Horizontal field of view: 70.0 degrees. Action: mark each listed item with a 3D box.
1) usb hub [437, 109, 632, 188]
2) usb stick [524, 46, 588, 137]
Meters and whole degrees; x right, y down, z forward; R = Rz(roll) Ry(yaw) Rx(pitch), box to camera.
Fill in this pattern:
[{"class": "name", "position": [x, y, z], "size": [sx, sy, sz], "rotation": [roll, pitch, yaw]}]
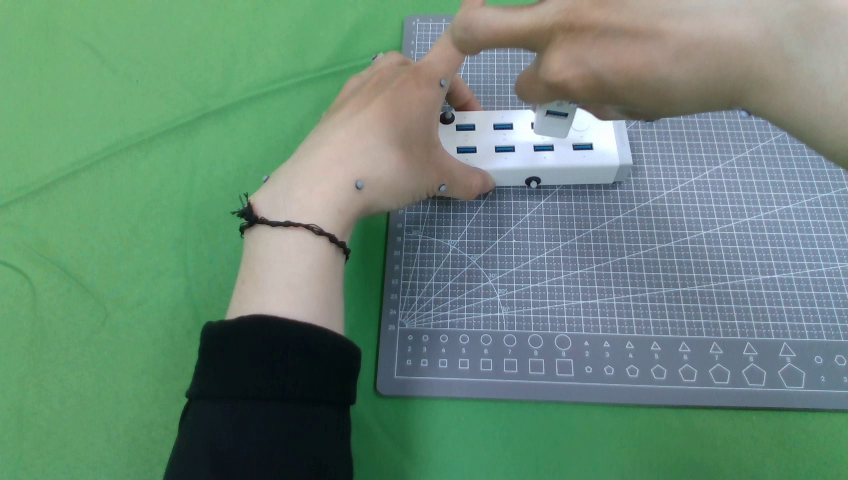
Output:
[{"class": "usb hub", "position": [0.071, -0.062, 0.406], "size": [0.125, 0.025, 0.049], "rotation": [-1, 63, 1]}, {"class": "usb stick", "position": [0.075, -0.081, 0.358], "size": [0.021, 0.059, 0.027], "rotation": [20, 52, 3]}]
